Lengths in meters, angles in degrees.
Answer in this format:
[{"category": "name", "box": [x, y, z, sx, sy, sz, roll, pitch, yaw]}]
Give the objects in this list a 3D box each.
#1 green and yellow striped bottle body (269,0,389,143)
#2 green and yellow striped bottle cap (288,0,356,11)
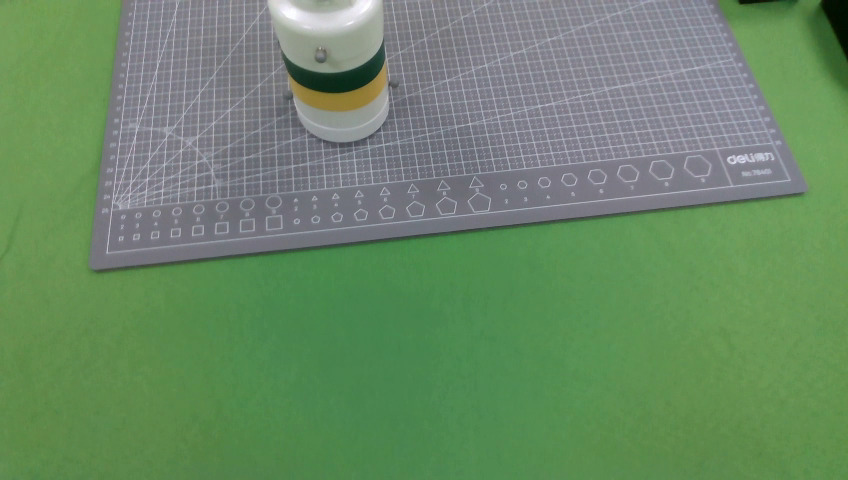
[{"category": "green and yellow striped bottle body", "box": [-0.054, -0.117, 0.360, 0.063, 0.120, 0.062, 0, 63, 0]}, {"category": "green and yellow striped bottle cap", "box": [-0.053, -0.140, 0.313, 0.045, 0.020, 0.045, 0, 61, 0]}]
